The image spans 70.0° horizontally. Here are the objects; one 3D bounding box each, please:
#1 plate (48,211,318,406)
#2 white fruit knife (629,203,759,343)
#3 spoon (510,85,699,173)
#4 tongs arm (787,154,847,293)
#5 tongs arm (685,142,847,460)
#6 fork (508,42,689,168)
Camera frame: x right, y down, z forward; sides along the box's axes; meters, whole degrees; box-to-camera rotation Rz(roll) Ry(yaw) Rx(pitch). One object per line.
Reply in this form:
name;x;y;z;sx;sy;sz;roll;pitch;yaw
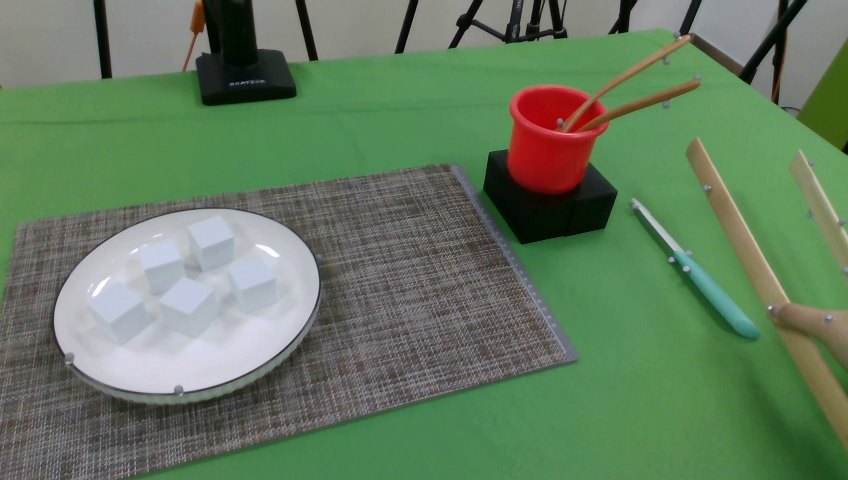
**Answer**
plate;-0.195;0.055;0.512;0.208;0.039;0.205;4;42;-3
white fruit knife;0.267;0.024;0.623;0.027;0.016;0.205;16;32;-33
spoon;0.161;-0.102;0.570;0.022;0.193;0.041;56;44;-9
tongs arm;0.373;0.049;0.538;0.051;0.027;0.381;9;47;-4
tongs arm;0.308;0.042;0.533;0.028;0.028;0.383;5;47;-12
fork;0.173;-0.134;0.607;0.207;0.019;0.028;-38;23;12
